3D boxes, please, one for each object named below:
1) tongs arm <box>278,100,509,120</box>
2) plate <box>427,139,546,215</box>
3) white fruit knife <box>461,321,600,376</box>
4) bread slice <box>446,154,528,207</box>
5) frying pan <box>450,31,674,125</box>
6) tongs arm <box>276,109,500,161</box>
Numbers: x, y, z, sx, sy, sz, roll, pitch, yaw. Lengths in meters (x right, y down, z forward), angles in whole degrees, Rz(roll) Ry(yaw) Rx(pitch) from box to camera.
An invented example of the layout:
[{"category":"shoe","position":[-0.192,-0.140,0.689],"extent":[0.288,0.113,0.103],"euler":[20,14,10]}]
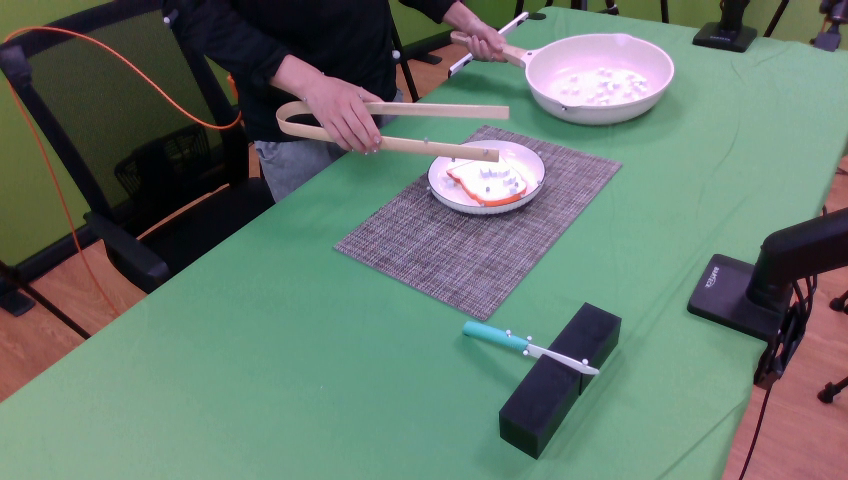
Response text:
[{"category":"tongs arm","position":[-0.052,-0.216,1.013],"extent":[0.387,0.028,0.028],"euler":[2,54,7]},{"category":"plate","position":[0.109,-0.107,1.059],"extent":[0.207,0.039,0.206],"euler":[-4,41,4]},{"category":"white fruit knife","position":[0.125,0.133,0.752],"extent":[0.205,0.027,0.016],"euler":[12,44,42]},{"category":"bread slice","position":[0.118,-0.104,1.057],"extent":[0.107,0.018,0.133],"euler":[-24,41,-18]},{"category":"frying pan","position":[0.271,-0.373,1.287],"extent":[0.485,0.103,0.307],"euler":[26,52,20]},{"category":"tongs arm","position":[-0.066,-0.170,0.972],"extent":[0.384,0.026,0.050],"euler":[8,51,12]}]
